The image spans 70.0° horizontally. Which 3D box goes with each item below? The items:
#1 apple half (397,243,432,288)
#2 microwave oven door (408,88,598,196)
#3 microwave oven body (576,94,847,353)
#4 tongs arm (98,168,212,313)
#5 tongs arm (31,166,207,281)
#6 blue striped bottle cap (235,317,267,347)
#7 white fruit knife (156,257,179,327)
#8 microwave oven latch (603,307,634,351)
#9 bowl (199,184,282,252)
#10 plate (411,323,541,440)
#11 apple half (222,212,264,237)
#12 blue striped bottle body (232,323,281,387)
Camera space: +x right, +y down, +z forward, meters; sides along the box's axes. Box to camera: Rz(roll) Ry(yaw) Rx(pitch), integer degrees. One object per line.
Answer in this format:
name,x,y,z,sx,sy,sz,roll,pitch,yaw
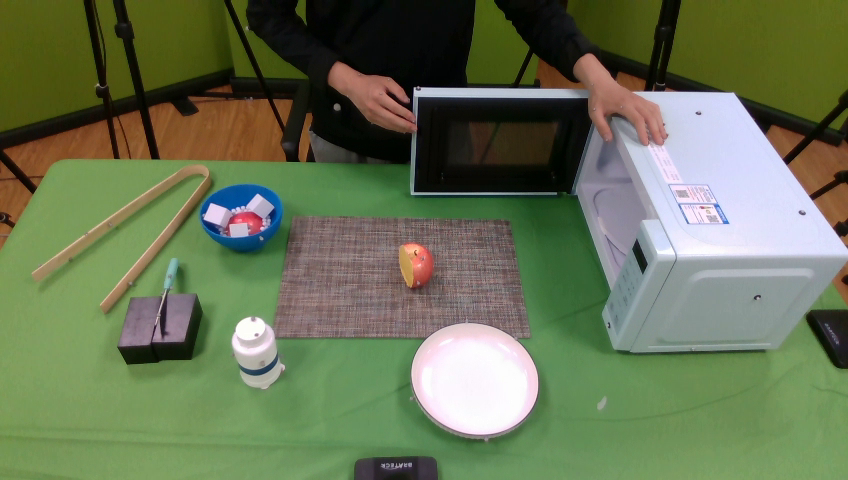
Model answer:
apple half,-0.013,0.047,1.115,0.053,0.075,0.080,-10,43,-21
microwave oven door,0.149,-0.193,1.225,0.356,0.245,0.039,-1,45,-5
microwave oven body,0.475,-0.041,1.109,0.326,0.261,0.438,-1,45,-4
tongs arm,-0.503,-0.012,1.167,0.028,0.028,0.385,11,46,11
tongs arm,-0.578,-0.040,1.184,0.050,0.026,0.384,23,48,17
blue striped bottle cap,-0.259,0.137,0.907,0.044,0.021,0.044,3,43,-2
white fruit knife,-0.440,0.085,1.037,0.016,0.027,0.206,10,26,-19
microwave oven latch,0.332,0.153,1.044,0.030,0.029,0.078,0,45,-4
bowl,-0.346,-0.030,1.164,0.151,0.077,0.150,3,46,-3
plate,0.082,0.228,0.976,0.208,0.039,0.206,2,45,-2
apple half,-0.346,-0.033,1.161,0.081,0.033,0.081,4,46,-4
blue striped bottle body,-0.262,0.172,0.944,0.063,0.121,0.062,2,46,-2
